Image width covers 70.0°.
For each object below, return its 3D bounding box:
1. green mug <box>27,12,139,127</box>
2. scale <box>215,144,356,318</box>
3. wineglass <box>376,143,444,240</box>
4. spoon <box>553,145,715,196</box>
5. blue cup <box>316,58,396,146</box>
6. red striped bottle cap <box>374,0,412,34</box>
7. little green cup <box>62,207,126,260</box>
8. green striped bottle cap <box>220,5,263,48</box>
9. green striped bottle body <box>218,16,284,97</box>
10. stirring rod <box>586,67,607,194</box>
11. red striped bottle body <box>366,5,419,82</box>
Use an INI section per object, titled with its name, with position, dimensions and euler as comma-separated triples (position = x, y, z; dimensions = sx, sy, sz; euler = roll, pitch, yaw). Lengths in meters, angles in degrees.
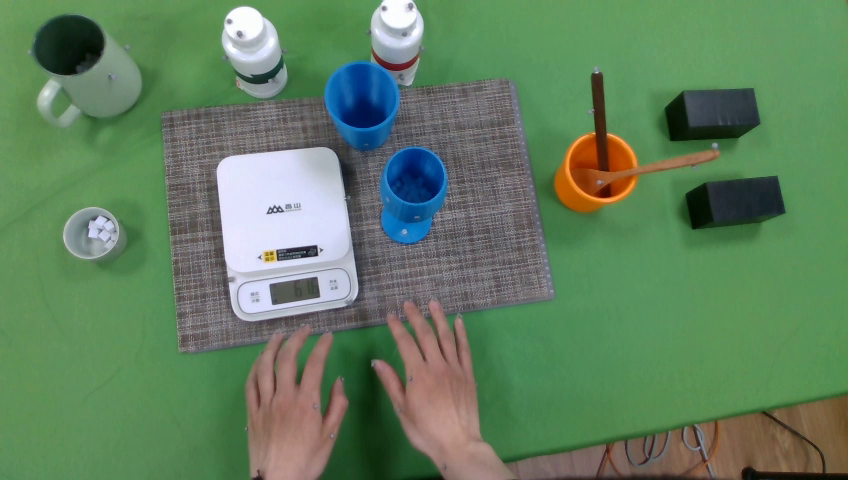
[green mug]
position = -0.405, -0.189, 0.709
dimensions = 0.092, 0.105, 0.125
euler = 27, 77, 0
[scale]
position = -0.168, -0.014, 0.732
dimensions = 0.149, 0.031, 0.200
euler = -9, 80, -7
[wineglass]
position = -0.019, -0.049, 0.681
dimensions = 0.074, 0.172, 0.073
euler = 1, 78, -5
[spoon]
position = 0.248, -0.087, 0.732
dimensions = 0.022, 0.193, 0.041
euler = -4, 86, -51
[blue cup]
position = -0.078, -0.158, 0.735
dimensions = 0.093, 0.100, 0.092
euler = 1, 81, -5
[red striped bottle cap]
position = -0.036, -0.261, 0.698
dimensions = 0.044, 0.018, 0.044
euler = 1, 76, -5
[little green cup]
position = -0.383, -0.006, 0.709
dimensions = 0.061, 0.039, 0.061
euler = 1, 79, -6
[green striped bottle cap]
position = -0.203, -0.238, 0.674
dimensions = 0.044, 0.020, 0.044
euler = 1, 78, -3
[green striped bottle body]
position = -0.208, -0.225, 0.728
dimensions = 0.063, 0.119, 0.063
euler = 1, 78, -5
[stirring rod]
position = 0.209, -0.127, 0.734
dimensions = 0.014, 0.178, 0.006
euler = 3, 43, 25
[red striped bottle body]
position = -0.040, -0.251, 0.750
dimensions = 0.063, 0.120, 0.063
euler = 1, 78, -5
